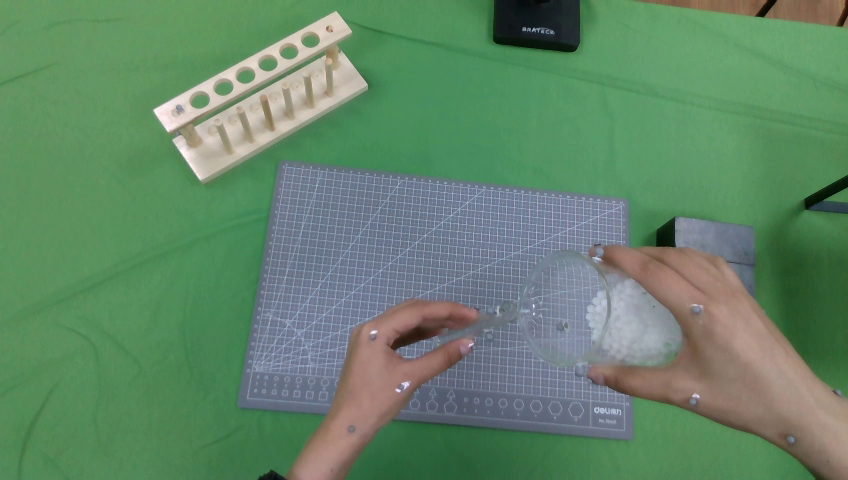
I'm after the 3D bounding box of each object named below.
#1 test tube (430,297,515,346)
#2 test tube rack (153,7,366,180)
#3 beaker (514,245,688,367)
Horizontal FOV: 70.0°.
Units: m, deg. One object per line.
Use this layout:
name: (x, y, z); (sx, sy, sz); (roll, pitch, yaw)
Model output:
test tube: (0.035, 0.069, 0.488); (0.017, 0.150, 0.017); (6, 71, -17)
test tube rack: (-0.188, -0.176, 0.732); (0.242, 0.085, 0.066); (-34, 79, -14)
beaker: (0.122, 0.049, 0.414); (0.101, 0.083, 0.073); (13, 76, -36)
